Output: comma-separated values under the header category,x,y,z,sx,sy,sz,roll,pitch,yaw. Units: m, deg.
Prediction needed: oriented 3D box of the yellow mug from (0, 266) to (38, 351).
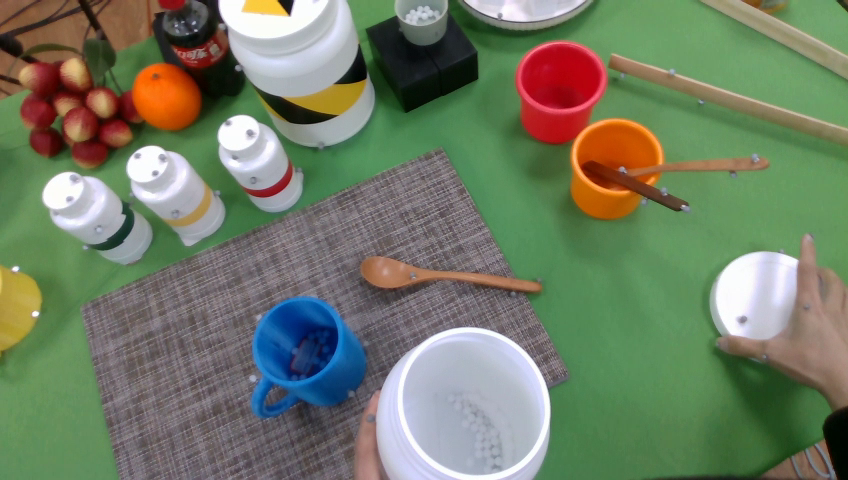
category,x,y,z,sx,sy,sz,roll,pitch,yaw
yellow mug,-0.485,0.082,0.654,0.100,0.064,0.129,-16,67,-1

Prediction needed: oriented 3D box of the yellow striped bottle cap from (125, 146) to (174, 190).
category,x,y,z,sx,sy,sz,roll,pitch,yaw
yellow striped bottle cap,-0.277,-0.073,0.613,0.044,0.019,0.044,-1,62,2

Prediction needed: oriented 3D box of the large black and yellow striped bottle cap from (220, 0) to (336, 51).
category,x,y,z,sx,sy,sz,roll,pitch,yaw
large black and yellow striped bottle cap,-0.144,-0.239,0.598,0.115,0.019,0.114,-3,69,7

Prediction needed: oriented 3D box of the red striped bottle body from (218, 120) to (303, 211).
category,x,y,z,sx,sy,sz,roll,pitch,yaw
red striped bottle body,-0.181,-0.084,0.665,0.063,0.120,0.062,-3,66,8

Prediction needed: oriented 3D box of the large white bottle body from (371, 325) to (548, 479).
category,x,y,z,sx,sy,sz,roll,pitch,yaw
large white bottle body,0.024,0.154,0.493,0.131,0.186,0.129,3,59,-5

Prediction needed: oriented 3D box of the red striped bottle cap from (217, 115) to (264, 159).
category,x,y,z,sx,sy,sz,roll,pitch,yaw
red striped bottle cap,-0.187,-0.105,0.617,0.044,0.018,0.044,-1,64,2

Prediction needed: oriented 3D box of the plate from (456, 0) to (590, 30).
category,x,y,z,sx,sy,sz,roll,pitch,yaw
plate,0.130,-0.354,0.793,0.209,0.038,0.207,-2,67,5

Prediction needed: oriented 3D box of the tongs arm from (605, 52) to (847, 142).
category,x,y,z,sx,sy,sz,roll,pitch,yaw
tongs arm,0.398,-0.159,0.686,0.383,0.027,0.050,24,67,14

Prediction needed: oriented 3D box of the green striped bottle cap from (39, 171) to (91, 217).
category,x,y,z,sx,sy,sz,roll,pitch,yaw
green striped bottle cap,-0.361,-0.046,0.609,0.044,0.020,0.044,-1,66,3

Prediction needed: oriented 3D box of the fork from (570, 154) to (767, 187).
category,x,y,z,sx,sy,sz,roll,pitch,yaw
fork,0.232,-0.071,0.603,0.206,0.019,0.028,0,58,55

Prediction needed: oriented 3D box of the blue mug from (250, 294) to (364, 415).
category,x,y,z,sx,sy,sz,roll,pitch,yaw
blue mug,-0.118,0.119,0.577,0.082,0.106,0.116,36,75,19

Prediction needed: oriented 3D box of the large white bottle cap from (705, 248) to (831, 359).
category,x,y,z,sx,sy,sz,roll,pitch,yaw
large white bottle cap,0.344,0.062,0.608,0.115,0.018,0.114,-2,67,5

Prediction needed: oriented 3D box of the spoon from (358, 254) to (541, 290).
category,x,y,z,sx,sy,sz,roll,pitch,yaw
spoon,0.026,0.038,0.642,0.193,0.022,0.041,4,47,7

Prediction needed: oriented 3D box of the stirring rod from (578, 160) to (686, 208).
category,x,y,z,sx,sy,sz,roll,pitch,yaw
stirring rod,0.202,-0.059,0.608,0.014,0.006,0.174,-22,24,-7

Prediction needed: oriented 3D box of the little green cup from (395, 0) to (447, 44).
category,x,y,z,sx,sy,sz,roll,pitch,yaw
little green cup,-0.002,-0.263,0.712,0.061,0.039,0.061,-2,64,4

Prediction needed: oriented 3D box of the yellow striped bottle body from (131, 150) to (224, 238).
category,x,y,z,sx,sy,sz,roll,pitch,yaw
yellow striped bottle body,-0.271,-0.053,0.661,0.063,0.121,0.062,-2,66,6

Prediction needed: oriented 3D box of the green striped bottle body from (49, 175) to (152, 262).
category,x,y,z,sx,sy,sz,roll,pitch,yaw
green striped bottle body,-0.354,-0.026,0.657,0.063,0.120,0.062,-2,66,5

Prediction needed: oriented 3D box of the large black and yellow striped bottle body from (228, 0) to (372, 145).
category,x,y,z,sx,sy,sz,roll,pitch,yaw
large black and yellow striped bottle body,-0.137,-0.206,0.677,0.130,0.185,0.130,-2,67,5

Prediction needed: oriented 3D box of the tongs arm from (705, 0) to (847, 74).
category,x,y,z,sx,sy,sz,roll,pitch,yaw
tongs arm,0.449,-0.229,0.716,0.385,0.028,0.028,40,68,19
